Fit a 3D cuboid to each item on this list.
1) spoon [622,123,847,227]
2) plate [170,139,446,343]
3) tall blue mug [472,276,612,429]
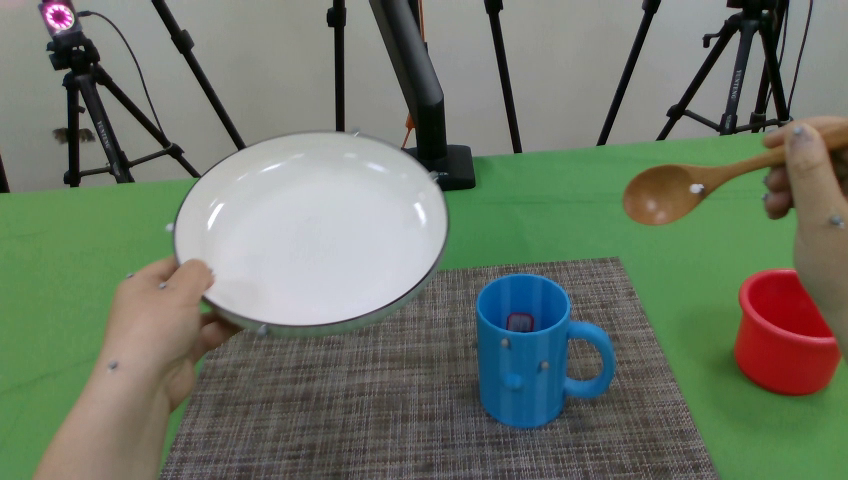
[{"bbox_3d":[0.199,-0.044,0.361,0.022,0.041,0.193,-6,-8,-31],"label":"spoon"},{"bbox_3d":[-0.087,-0.002,0.479,0.208,0.039,0.205,2,47,-2],"label":"plate"},{"bbox_3d":[0.097,0.094,0.517,0.107,0.109,0.077,-9,34,-4],"label":"tall blue mug"}]
